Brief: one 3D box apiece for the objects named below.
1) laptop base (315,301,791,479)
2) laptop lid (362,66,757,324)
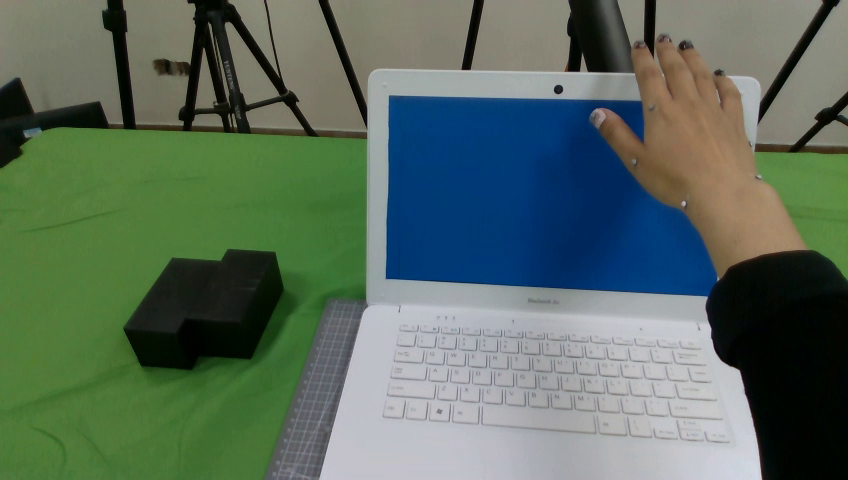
[{"bbox_3d":[0.100,0.148,0.499,0.354,0.023,0.233,3,41,5],"label":"laptop base"},{"bbox_3d":[0.116,-0.038,0.568,0.356,0.242,0.013,1,10,5],"label":"laptop lid"}]
